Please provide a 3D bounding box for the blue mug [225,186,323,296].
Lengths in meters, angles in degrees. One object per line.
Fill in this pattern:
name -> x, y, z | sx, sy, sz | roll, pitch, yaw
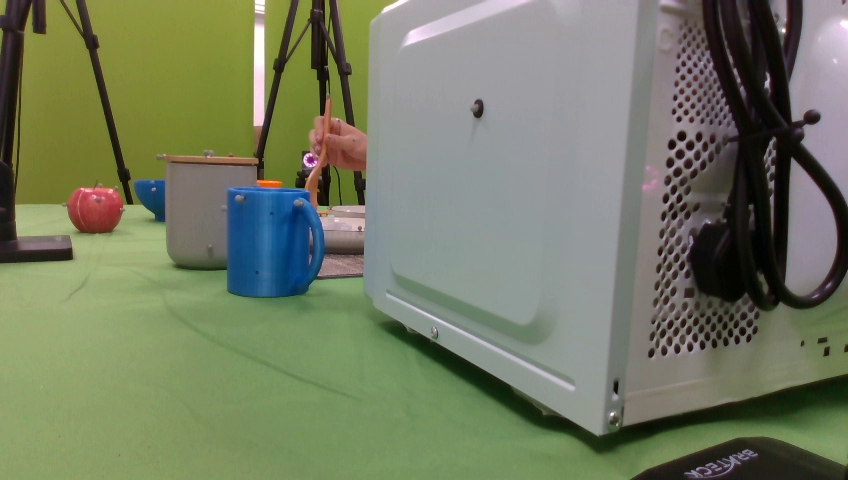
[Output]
blue mug -> -0.148, 0.000, 0.618 | 0.116, 0.106, 0.083 | 7, 9, 33

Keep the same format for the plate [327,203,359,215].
plate -> -0.102, -0.053, 1.299 | 0.209, 0.038, 0.209 | 2, 8, 0

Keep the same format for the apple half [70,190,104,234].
apple half -> -0.552, -0.047, 1.009 | 0.053, 0.074, 0.081 | 0, 9, 26

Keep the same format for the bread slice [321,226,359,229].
bread slice -> -0.124, -0.008, 0.938 | 0.131, 0.019, 0.105 | 4, 8, 32

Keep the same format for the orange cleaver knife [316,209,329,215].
orange cleaver knife -> -0.259, -0.064, 1.423 | 0.212, 0.012, 0.077 | -4, 3, -30

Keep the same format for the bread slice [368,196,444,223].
bread slice -> -0.040, -0.057, 1.142 | 0.107, 0.018, 0.133 | -8, -8, -39

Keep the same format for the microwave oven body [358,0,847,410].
microwave oven body -> 0.210, -0.051, 0.471 | 0.444, 0.260, 0.324 | -1, 7, -28

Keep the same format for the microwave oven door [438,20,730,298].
microwave oven door -> 0.181, -0.076, 0.618 | 0.358, 0.243, 0.039 | -2, 8, -28

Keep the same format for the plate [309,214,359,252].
plate -> -0.130, -0.011, 0.945 | 0.208, 0.039, 0.207 | 2, 8, 0

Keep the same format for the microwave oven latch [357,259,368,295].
microwave oven latch -> -0.019, 0.031, 0.529 | 0.079, 0.029, 0.030 | -1, 7, -26

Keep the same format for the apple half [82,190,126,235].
apple half -> -0.516, -0.046, 0.994 | 0.032, 0.081, 0.081 | 0, 6, 26

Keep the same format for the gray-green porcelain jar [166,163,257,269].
gray-green porcelain jar -> -0.263, -0.031, 0.754 | 0.106, 0.126, 0.106 | 2, 7, 0

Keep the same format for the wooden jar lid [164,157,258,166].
wooden jar lid -> -0.261, -0.093, 0.746 | 0.108, 0.020, 0.108 | 0, 9, 0

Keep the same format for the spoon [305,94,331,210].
spoon -> -0.164, -0.142, 0.964 | 0.021, 0.193, 0.042 | 7, -12, 15

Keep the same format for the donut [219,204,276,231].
donut -> -0.316, -0.039, 1.083 | 0.099, 0.048, 0.099 | 3, 7, 0

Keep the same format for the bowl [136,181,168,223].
bowl -> -0.497, -0.076, 1.221 | 0.151, 0.077, 0.151 | 2, 8, 0

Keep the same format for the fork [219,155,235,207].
fork -> -0.459, -0.134, 1.415 | 0.028, 0.018, 0.207 | -1, -34, -25

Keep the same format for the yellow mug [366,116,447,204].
yellow mug -> -0.017, -0.122, 0.875 | 0.064, 0.130, 0.100 | 48, 29, 20
